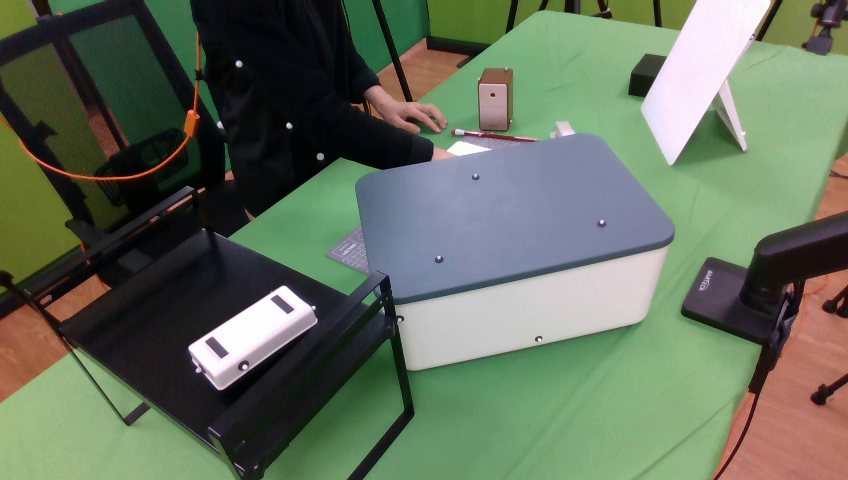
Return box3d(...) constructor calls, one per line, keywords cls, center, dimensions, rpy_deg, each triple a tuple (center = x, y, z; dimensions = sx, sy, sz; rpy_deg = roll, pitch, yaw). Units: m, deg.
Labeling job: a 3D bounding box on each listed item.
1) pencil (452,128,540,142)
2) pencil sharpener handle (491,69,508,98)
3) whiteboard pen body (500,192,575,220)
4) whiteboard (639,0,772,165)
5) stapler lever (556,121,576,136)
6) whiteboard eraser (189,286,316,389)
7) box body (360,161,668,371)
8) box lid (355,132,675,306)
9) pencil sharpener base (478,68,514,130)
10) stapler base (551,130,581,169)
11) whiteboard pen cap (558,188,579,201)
box3d(cls="pencil", center=(0.147, -0.207, 1.205), dimensions=(0.193, 0.012, 0.012), rpy_deg=(10, 43, 19))
box3d(cls="pencil sharpener handle", center=(0.155, -0.329, 1.254), dimensions=(0.036, 0.068, 0.030), rpy_deg=(17, 43, 3))
box3d(cls="whiteboard pen body", center=(0.192, -0.060, 1.011), dimensions=(0.141, 0.017, 0.017), rpy_deg=(-18, 42, -15))
box3d(cls="whiteboard", center=(0.543, -0.298, 1.076), dimensions=(0.144, 0.305, 0.216), rpy_deg=(12, 40, -7))
box3d(cls="stapler lever", center=(0.266, -0.198, 1.128), dimensions=(0.027, 0.040, 0.117), rpy_deg=(0, 38, 3))
box3d(cls="whiteboard eraser", center=(-0.166, 0.096, 0.593), dimensions=(0.113, 0.042, 0.055), rpy_deg=(-36, 47, -29))
box3d(cls="box body", center=(0.109, 0.014, 0.833), dimensions=(0.365, 0.161, 0.252), rpy_deg=(-11, 41, -5))
box3d(cls="box lid", center=(0.103, -0.042, 0.785), dimensions=(0.372, 0.015, 0.261), rpy_deg=(-12, 41, -5))
box3d(cls="pencil sharpener base", center=(0.148, -0.286, 1.225), dimensions=(0.061, 0.107, 0.076), rpy_deg=(5, 41, 15))
box3d(cls="stapler base", center=(0.268, -0.178, 1.142), dimensions=(0.041, 0.024, 0.130), rpy_deg=(0, 37, 3))
box3d(cls="whiteboard pen cap", center=(0.245, -0.077, 1.028), dimensions=(0.033, 0.018, 0.018), rpy_deg=(-18, 41, -15))
